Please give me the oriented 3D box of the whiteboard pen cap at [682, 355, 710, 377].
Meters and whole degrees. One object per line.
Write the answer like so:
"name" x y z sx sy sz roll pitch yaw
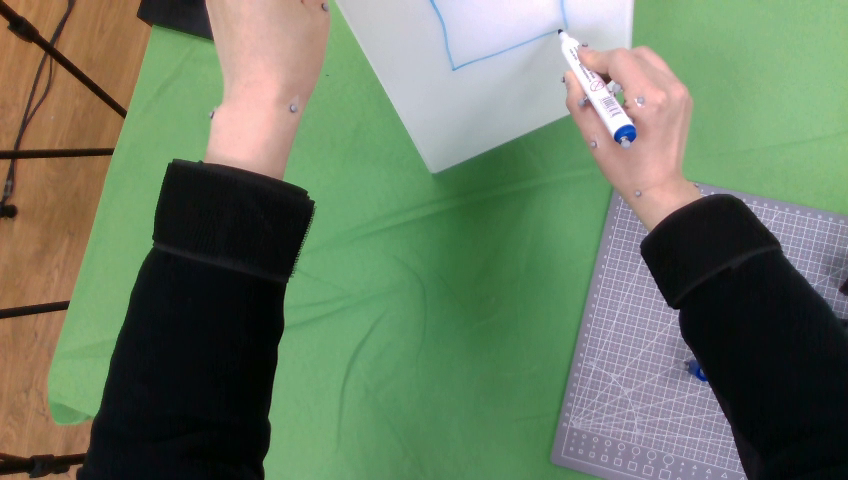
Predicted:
"whiteboard pen cap" 0.255 0.117 0.571 0.018 0.033 0.018 0 89 7

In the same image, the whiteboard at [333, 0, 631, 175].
"whiteboard" 0.044 -0.223 0.508 0.217 0.308 0.142 -22 65 7

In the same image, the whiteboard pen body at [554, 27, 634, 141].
"whiteboard pen body" 0.122 -0.123 0.454 0.017 0.017 0.139 -21 51 6
